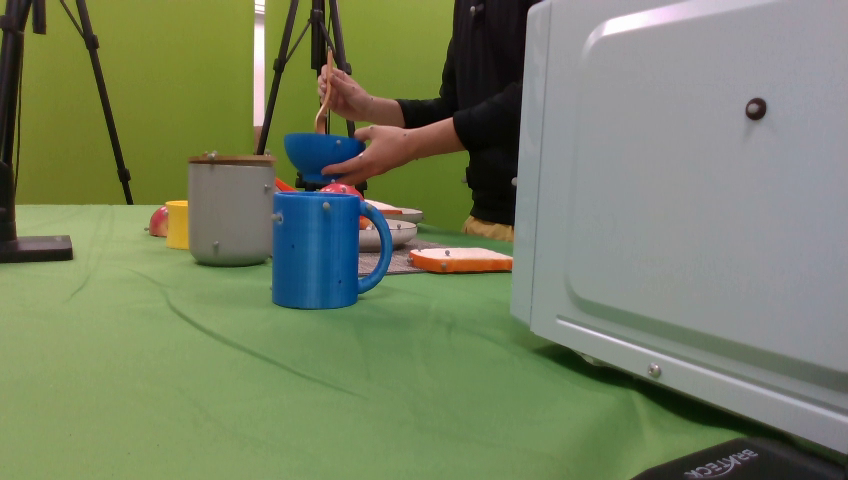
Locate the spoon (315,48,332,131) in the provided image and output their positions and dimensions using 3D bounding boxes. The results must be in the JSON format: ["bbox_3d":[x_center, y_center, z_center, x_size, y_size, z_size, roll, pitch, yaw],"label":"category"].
[{"bbox_3d":[-0.188,-0.281,1.162,0.021,0.193,0.042,2,-14,17],"label":"spoon"}]

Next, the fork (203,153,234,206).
[{"bbox_3d":[-0.480,-0.136,1.411,0.028,0.018,0.207,0,-34,-1],"label":"fork"}]

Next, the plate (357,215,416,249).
[{"bbox_3d":[-0.116,-0.014,0.967,0.208,0.039,0.207,2,7,0],"label":"plate"}]

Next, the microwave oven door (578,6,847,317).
[{"bbox_3d":[0.294,-0.067,0.570,0.358,0.243,0.039,-3,9,-31],"label":"microwave oven door"}]

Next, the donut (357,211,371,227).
[{"bbox_3d":[-0.132,-0.041,0.959,0.099,0.048,0.099,3,8,0],"label":"donut"}]

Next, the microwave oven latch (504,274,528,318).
[{"bbox_3d":[0.100,0.041,0.471,0.079,0.029,0.030,-1,7,-27],"label":"microwave oven latch"}]

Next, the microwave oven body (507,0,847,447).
[{"bbox_3d":[0.331,-0.042,0.425,0.444,0.260,0.324,-2,8,-31],"label":"microwave oven body"}]

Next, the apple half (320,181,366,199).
[{"bbox_3d":[-0.130,-0.077,0.952,0.081,0.033,0.081,2,15,0],"label":"apple half"}]

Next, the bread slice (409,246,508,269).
[{"bbox_3d":[0.048,0.022,0.816,0.132,0.019,0.104,0,7,-24],"label":"bread slice"}]

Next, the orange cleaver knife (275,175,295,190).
[{"bbox_3d":[-0.283,-0.087,1.343,0.212,0.077,0.012,24,-17,-41],"label":"orange cleaver knife"}]

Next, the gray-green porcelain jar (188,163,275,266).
[{"bbox_3d":[-0.246,-0.034,0.779,0.106,0.126,0.106,2,7,0],"label":"gray-green porcelain jar"}]

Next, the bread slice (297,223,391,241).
[{"bbox_3d":[-0.121,-0.014,0.970,0.106,0.018,0.135,8,8,41],"label":"bread slice"}]

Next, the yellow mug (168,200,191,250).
[{"bbox_3d":[-0.320,-0.022,0.904,0.130,0.064,0.100,8,10,36],"label":"yellow mug"}]

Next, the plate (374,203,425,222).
[{"bbox_3d":[-0.102,-0.053,1.299,0.209,0.038,0.209,2,8,0],"label":"plate"}]

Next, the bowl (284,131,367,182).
[{"bbox_3d":[-0.182,-0.149,1.111,0.151,0.076,0.151,3,0,0],"label":"bowl"}]

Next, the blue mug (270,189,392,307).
[{"bbox_3d":[-0.090,0.005,0.588,0.117,0.106,0.082,1,7,-11],"label":"blue mug"}]

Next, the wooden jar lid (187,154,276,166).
[{"bbox_3d":[-0.244,-0.097,0.771,0.108,0.020,0.108,-1,7,0],"label":"wooden jar lid"}]

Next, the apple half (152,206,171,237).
[{"bbox_3d":[-0.415,-0.034,1.017,0.081,0.053,0.074,1,10,-9],"label":"apple half"}]
